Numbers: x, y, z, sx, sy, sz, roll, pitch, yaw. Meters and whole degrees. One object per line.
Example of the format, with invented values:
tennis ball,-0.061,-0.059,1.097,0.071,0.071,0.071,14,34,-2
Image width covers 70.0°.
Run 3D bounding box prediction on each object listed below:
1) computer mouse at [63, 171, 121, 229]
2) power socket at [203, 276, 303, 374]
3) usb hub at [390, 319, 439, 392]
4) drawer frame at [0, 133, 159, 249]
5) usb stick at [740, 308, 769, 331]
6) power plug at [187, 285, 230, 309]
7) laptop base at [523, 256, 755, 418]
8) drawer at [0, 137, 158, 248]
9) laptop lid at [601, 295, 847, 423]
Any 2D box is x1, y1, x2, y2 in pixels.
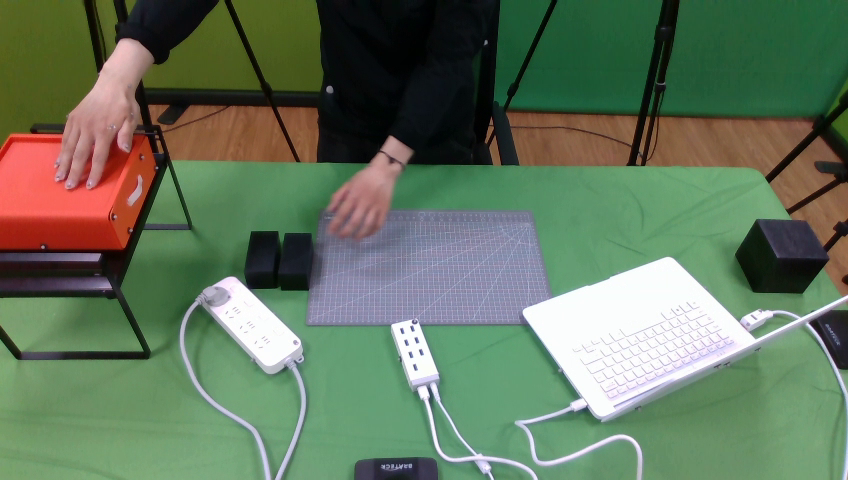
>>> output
computer mouse,-0.522,-0.067,0.955,0.063,0.041,0.116,1,49,-10
power socket,-0.297,0.141,1.034,0.225,0.033,0.072,37,55,27
usb hub,-0.016,0.190,1.013,0.049,0.025,0.124,-11,48,-15
drawer frame,-0.553,-0.079,0.942,0.214,0.083,0.200,-1,47,-4
usb stick,0.587,0.145,1.088,0.059,0.027,0.021,-21,48,-17
power plug,-0.370,0.103,1.039,0.072,0.053,0.035,-25,53,-22
laptop base,0.380,0.159,1.077,0.355,0.023,0.234,-17,47,-19
drawer,-0.549,-0.079,0.944,0.212,0.073,0.193,0,47,-4
laptop lid,0.449,0.179,0.905,0.357,0.242,0.013,-17,64,-20
